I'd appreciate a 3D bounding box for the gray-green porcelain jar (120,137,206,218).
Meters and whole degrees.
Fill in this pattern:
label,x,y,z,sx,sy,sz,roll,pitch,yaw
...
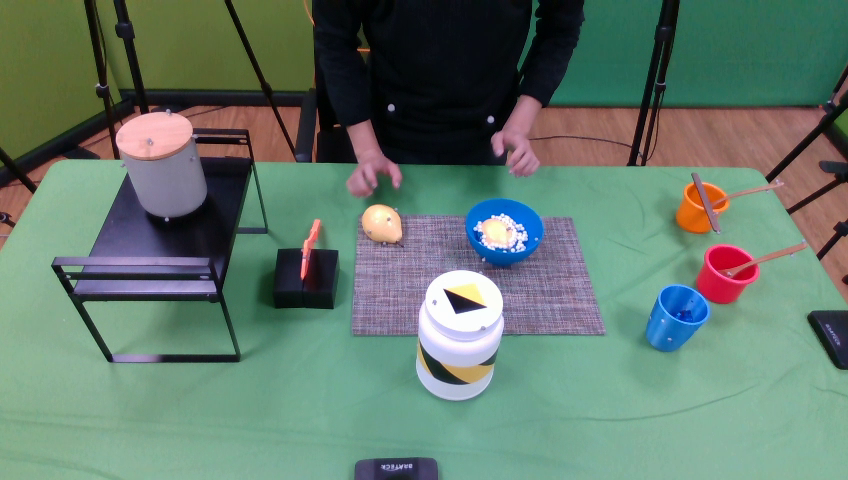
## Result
label,x,y,z,sx,sy,sz,roll,pitch,yaw
gray-green porcelain jar,-0.403,-0.106,0.946,0.106,0.127,0.105,3,46,-2

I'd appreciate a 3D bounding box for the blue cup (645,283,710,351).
label,x,y,z,sx,sy,sz,roll,pitch,yaw
blue cup,0.426,0.139,1.041,0.093,0.100,0.092,4,46,-4

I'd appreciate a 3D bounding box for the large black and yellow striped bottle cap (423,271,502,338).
label,x,y,z,sx,sy,sz,roll,pitch,yaw
large black and yellow striped bottle cap,0.057,0.092,0.883,0.115,0.019,0.114,3,45,-3

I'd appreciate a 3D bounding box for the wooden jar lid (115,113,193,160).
label,x,y,z,sx,sy,sz,roll,pitch,yaw
wooden jar lid,-0.399,-0.151,0.900,0.108,0.021,0.107,3,46,-3

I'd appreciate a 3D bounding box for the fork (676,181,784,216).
label,x,y,z,sx,sy,sz,roll,pitch,yaw
fork,0.618,-0.083,1.235,0.207,0.019,0.028,-23,21,38

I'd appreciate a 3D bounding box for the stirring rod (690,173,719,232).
label,x,y,z,sx,sy,sz,roll,pitch,yaw
stirring rod,0.566,-0.079,1.225,0.014,0.006,0.175,2,45,2

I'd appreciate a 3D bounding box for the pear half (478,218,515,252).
label,x,y,z,sx,sy,sz,roll,pitch,yaw
pear half,0.144,-0.013,1.167,0.070,0.031,0.087,-20,55,-20

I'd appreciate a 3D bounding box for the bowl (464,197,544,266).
label,x,y,z,sx,sy,sz,roll,pitch,yaw
bowl,0.149,-0.004,1.167,0.151,0.077,0.150,2,46,-2

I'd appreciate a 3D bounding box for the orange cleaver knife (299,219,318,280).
label,x,y,z,sx,sy,sz,roll,pitch,yaw
orange cleaver knife,-0.214,0.013,1.126,0.012,0.077,0.210,5,17,-5

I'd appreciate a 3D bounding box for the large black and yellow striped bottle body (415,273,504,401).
label,x,y,z,sx,sy,sz,roll,pitch,yaw
large black and yellow striped bottle body,0.054,0.150,0.943,0.131,0.185,0.130,2,46,-2

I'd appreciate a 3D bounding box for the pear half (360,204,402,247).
label,x,y,z,sx,sy,sz,roll,pitch,yaw
pear half,-0.077,-0.028,1.195,0.076,0.056,0.109,-36,61,-25

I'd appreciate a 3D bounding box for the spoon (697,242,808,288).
label,x,y,z,sx,sy,sz,roll,pitch,yaw
spoon,0.601,0.045,1.116,0.194,0.022,0.041,-29,34,30
